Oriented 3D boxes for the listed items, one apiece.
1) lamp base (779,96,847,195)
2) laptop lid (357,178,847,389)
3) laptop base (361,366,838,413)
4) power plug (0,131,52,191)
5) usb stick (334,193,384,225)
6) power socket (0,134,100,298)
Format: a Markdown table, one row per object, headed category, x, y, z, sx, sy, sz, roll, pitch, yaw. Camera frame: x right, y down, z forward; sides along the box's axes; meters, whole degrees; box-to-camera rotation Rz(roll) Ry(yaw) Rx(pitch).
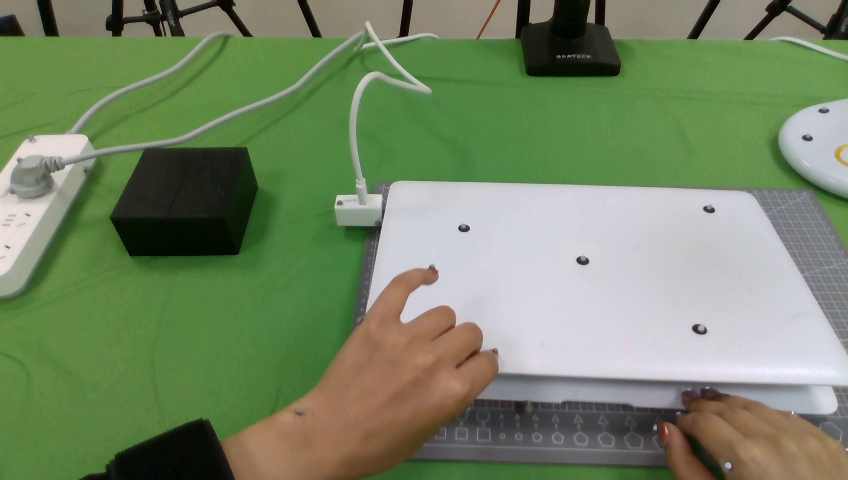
| category | x | y | z | sx | sy | sz | roll | pitch | yaw |
| --- | --- | --- | --- | --- | --- | --- | --- | --- | --- |
| lamp base | 0.471 | -0.158 | 0.599 | 0.159 | 0.182 | 0.179 | 28 | 50 | 25 |
| laptop lid | 0.133 | 0.020 | 0.507 | 0.356 | 0.013 | 0.239 | 3 | 41 | 4 |
| laptop base | 0.134 | 0.039 | 0.527 | 0.354 | 0.023 | 0.233 | 2 | 49 | 3 |
| power plug | -0.378 | -0.080 | 0.567 | 0.053 | 0.073 | 0.035 | 12 | 29 | -19 |
| usb stick | -0.054 | -0.030 | 0.577 | 0.059 | 0.027 | 0.021 | 2 | 44 | 0 |
| power socket | -0.388 | -0.032 | 0.590 | 0.072 | 0.033 | 0.224 | 0 | 45 | -1 |
